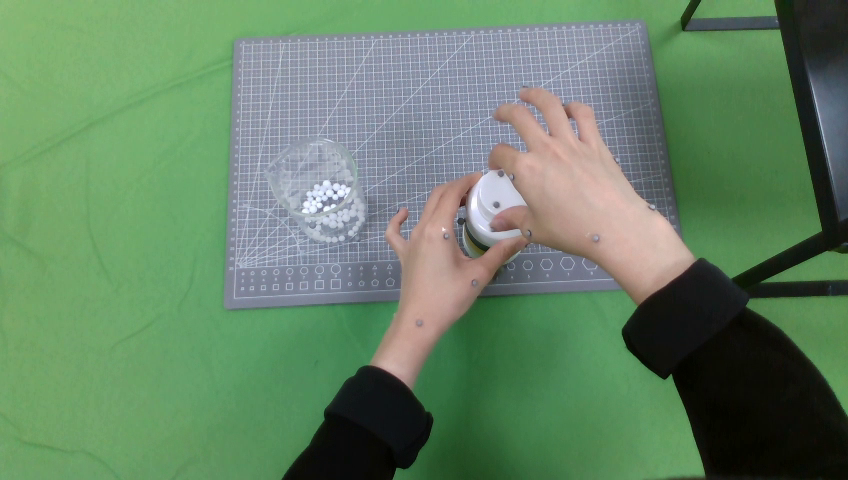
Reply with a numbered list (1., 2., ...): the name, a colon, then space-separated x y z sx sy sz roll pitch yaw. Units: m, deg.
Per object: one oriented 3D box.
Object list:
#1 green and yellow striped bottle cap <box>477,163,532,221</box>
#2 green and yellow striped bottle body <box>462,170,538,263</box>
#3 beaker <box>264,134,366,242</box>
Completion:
1. green and yellow striped bottle cap: 0.066 -0.039 0.490 0.045 0.020 0.045 -1 75 3
2. green and yellow striped bottle body: 0.067 -0.023 0.545 0.063 0.120 0.063 0 74 2
3. beaker: -0.096 -0.043 0.563 0.084 0.101 0.073 8 74 4
